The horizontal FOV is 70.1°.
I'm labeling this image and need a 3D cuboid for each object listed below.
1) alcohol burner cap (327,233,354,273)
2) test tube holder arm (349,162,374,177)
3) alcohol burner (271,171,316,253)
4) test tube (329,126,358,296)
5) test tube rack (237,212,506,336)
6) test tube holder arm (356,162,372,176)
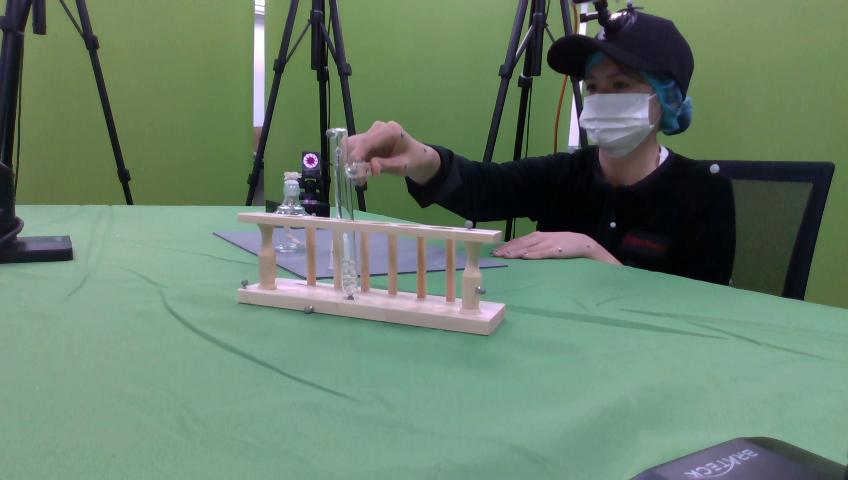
[{"bbox_3d":[-0.104,0.016,0.752,0.034,0.048,0.034,3,6,0],"label":"alcohol burner cap"},{"bbox_3d":[-0.069,-0.081,0.684,0.013,0.015,0.178,-3,8,-1],"label":"test tube holder arm"},{"bbox_3d":[-0.196,-0.041,0.884,0.078,0.119,0.078,3,5,0],"label":"alcohol burner"},{"bbox_3d":[-0.071,-0.024,0.535,0.017,0.150,0.017,-3,8,1],"label":"test tube"},{"bbox_3d":[-0.049,0.024,0.552,0.242,0.085,0.067,5,8,19],"label":"test tube rack"},{"bbox_3d":[-0.063,-0.076,0.639,0.010,0.015,0.088,-3,8,-1],"label":"test tube holder arm"}]
